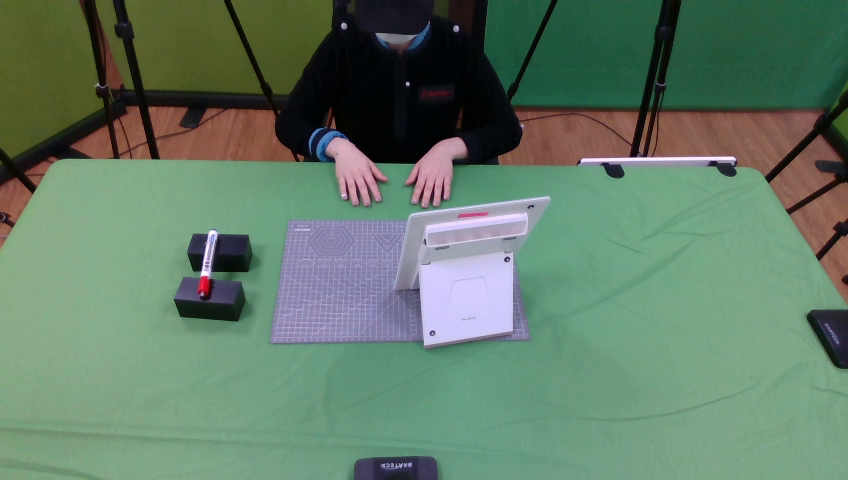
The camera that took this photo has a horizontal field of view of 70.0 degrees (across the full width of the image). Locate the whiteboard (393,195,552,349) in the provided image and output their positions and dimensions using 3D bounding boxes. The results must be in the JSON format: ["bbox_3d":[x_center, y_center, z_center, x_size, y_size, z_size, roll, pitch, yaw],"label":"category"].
[{"bbox_3d":[0.077,0.071,0.977,0.217,0.306,0.143,-7,66,-11],"label":"whiteboard"}]

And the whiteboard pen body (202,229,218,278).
[{"bbox_3d":[-0.378,0.033,1.068,0.017,0.017,0.139,-2,47,-7],"label":"whiteboard pen body"}]

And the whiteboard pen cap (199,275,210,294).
[{"bbox_3d":[-0.372,0.075,1.030,0.017,0.017,0.032,-4,48,-8],"label":"whiteboard pen cap"}]
